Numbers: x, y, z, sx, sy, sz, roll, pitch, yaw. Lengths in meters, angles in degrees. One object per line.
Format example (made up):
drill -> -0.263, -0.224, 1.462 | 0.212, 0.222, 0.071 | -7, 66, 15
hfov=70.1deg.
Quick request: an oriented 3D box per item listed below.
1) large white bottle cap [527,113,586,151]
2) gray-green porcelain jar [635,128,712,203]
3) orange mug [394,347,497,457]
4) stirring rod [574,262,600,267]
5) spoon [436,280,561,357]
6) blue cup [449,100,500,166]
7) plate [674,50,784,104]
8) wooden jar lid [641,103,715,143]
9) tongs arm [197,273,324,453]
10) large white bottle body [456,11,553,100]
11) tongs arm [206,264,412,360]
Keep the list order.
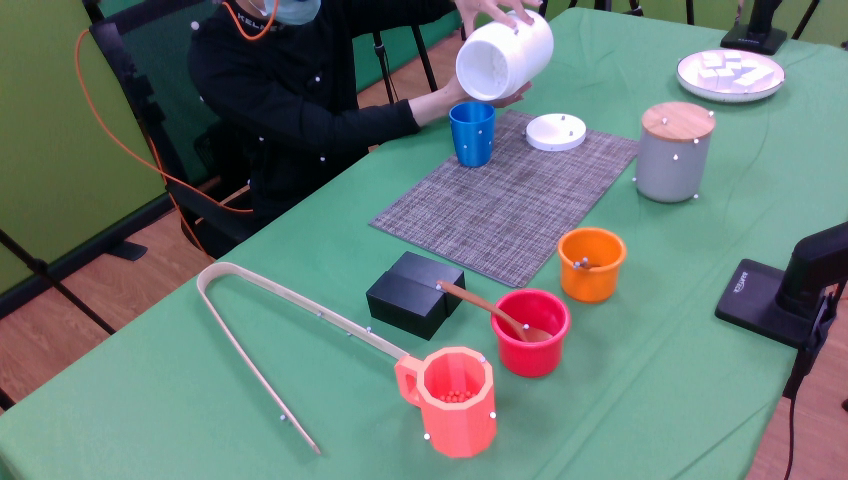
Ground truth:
large white bottle cap -> 0.259, -0.213, 1.184 | 0.115, 0.018, 0.114 | -4, 41, 4
gray-green porcelain jar -> 0.405, -0.133, 0.992 | 0.106, 0.127, 0.105 | -4, 40, 4
orange mug -> 0.024, 0.181, 0.703 | 0.125, 0.101, 0.083 | 20, 48, 23
stirring rod -> 0.222, 0.033, 0.816 | 0.014, 0.006, 0.177 | 7, 0, 22
spoon -> 0.096, 0.095, 0.757 | 0.195, 0.021, 0.041 | 34, 41, -20
blue cup -> 0.091, -0.195, 1.123 | 0.092, 0.100, 0.092 | -3, 40, 3
plate -> 0.631, -0.336, 1.262 | 0.207, 0.039, 0.206 | -4, 41, 4
wooden jar lid -> 0.398, -0.180, 0.952 | 0.108, 0.021, 0.108 | -4, 43, 4
tongs arm -> -0.236, 0.154, 0.830 | 0.028, 0.028, 0.384 | -36, 47, -19
large white bottle body -> 0.149, -0.342, 1.127 | 0.130, 0.131, 0.185 | 17, 39, 26
tongs arm -> -0.179, 0.107, 0.870 | 0.381, 0.026, 0.051 | 23, 53, 32
